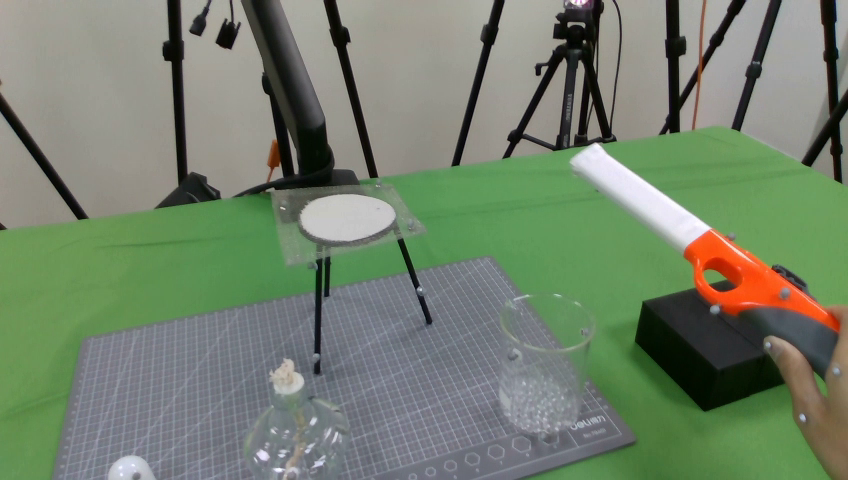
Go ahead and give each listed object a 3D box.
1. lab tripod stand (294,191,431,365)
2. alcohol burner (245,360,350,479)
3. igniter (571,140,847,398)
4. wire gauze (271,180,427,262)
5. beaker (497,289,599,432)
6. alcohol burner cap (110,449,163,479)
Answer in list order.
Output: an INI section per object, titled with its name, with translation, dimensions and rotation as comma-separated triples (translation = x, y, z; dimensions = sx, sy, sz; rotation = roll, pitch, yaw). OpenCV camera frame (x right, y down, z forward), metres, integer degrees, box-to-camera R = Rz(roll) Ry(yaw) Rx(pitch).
[lab tripod stand]
translation = -0.067, 0.029, 0.586
dimensions = 0.148, 0.132, 0.147
rotation = 0, 30, 0
[alcohol burner]
translation = -0.094, 0.131, 0.443
dimensions = 0.078, 0.120, 0.077
rotation = 0, 34, 0
[igniter]
translation = 0.211, 0.007, 0.452
dimensions = 0.057, 0.025, 0.273
rotation = -33, 53, -10
[wire gauze]
translation = -0.072, -0.026, 0.546
dimensions = 0.122, 0.011, 0.123
rotation = -9, 33, -16
[beaker]
translation = 0.096, 0.100, 0.501
dimensions = 0.074, 0.101, 0.083
rotation = -21, 37, -29
[alcohol burner cap]
translation = -0.211, 0.174, 0.444
dimensions = 0.034, 0.048, 0.033
rotation = 0, 33, 1
